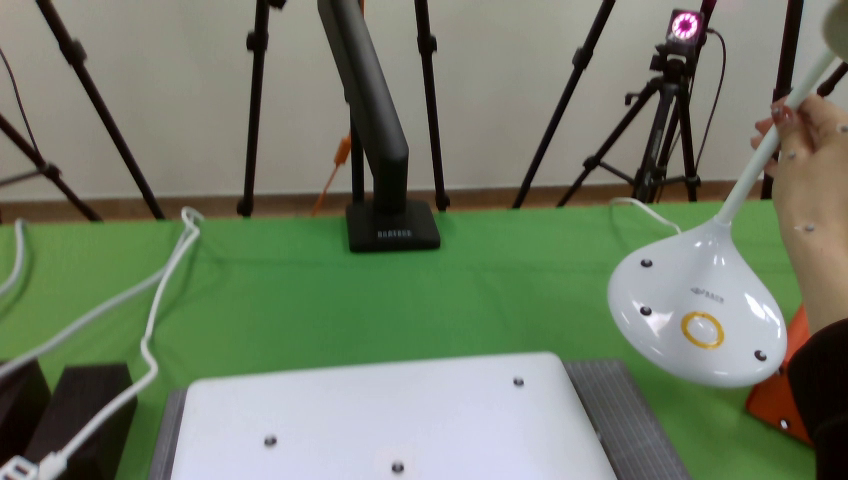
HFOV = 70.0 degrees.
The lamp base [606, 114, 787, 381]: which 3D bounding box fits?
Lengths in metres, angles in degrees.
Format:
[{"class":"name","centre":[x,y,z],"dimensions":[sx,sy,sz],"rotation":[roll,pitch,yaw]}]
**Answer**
[{"class":"lamp base","centre":[0.256,-0.004,0.508],"dimensions":[0.160,0.181,0.178],"rotation":[13,42,5]}]

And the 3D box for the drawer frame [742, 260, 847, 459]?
[{"class":"drawer frame","centre":[0.451,0.129,0.588],"dimensions":[0.200,0.083,0.213],"rotation":[27,39,31]}]

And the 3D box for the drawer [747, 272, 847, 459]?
[{"class":"drawer","centre":[0.451,0.133,0.586],"dimensions":[0.193,0.074,0.212],"rotation":[27,39,31]}]

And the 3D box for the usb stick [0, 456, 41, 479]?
[{"class":"usb stick","centre":[-0.280,0.178,0.418],"dimensions":[0.021,0.059,0.027],"rotation":[23,36,9]}]

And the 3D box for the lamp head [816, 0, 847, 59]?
[{"class":"lamp head","centre":[0.242,-0.141,0.254],"dimensions":[0.112,0.122,0.113],"rotation":[18,-8,3]}]

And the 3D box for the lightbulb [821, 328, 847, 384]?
[{"class":"lightbulb","centre":[0.447,0.128,0.605],"dimensions":[0.059,0.060,0.107],"rotation":[5,18,1]}]

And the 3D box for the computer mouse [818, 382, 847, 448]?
[{"class":"computer mouse","centre":[0.421,0.172,0.546],"dimensions":[0.116,0.041,0.063],"rotation":[27,39,22]}]

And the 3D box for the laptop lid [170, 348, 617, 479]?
[{"class":"laptop lid","centre":[-0.021,0.184,0.488],"dimensions":[0.357,0.013,0.239],"rotation":[-2,37,-9]}]

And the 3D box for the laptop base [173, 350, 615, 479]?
[{"class":"laptop base","centre":[-0.022,0.192,0.497],"dimensions":[0.355,0.023,0.233],"rotation":[-3,38,-10]}]
